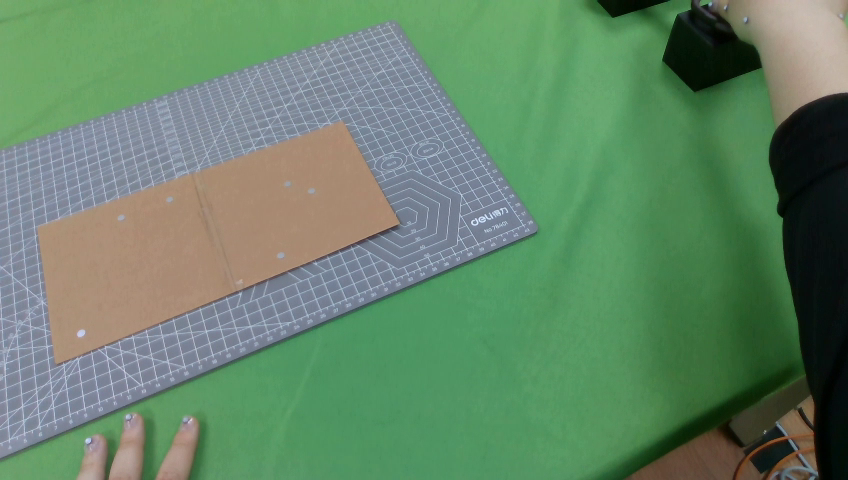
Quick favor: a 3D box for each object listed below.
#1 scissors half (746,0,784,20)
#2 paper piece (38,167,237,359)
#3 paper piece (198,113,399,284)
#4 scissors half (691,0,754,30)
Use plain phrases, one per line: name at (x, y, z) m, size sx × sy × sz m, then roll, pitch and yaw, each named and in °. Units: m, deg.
scissors half at (0.260, -0.255, 0.556) m, size 0.040 × 0.013 × 0.173 m, roll -29°, pitch 59°, yaw -10°
paper piece at (-0.229, 0.010, 0.477) m, size 0.138 × 0.009 × 0.134 m, roll -23°, pitch 55°, yaw -10°
paper piece at (-0.107, -0.042, 0.502) m, size 0.135 × 0.004 × 0.134 m, roll -23°, pitch 57°, yaw -10°
scissors half at (0.242, -0.247, 0.554) m, size 0.040 × 0.013 × 0.173 m, roll -13°, pitch 56°, yaw -6°
